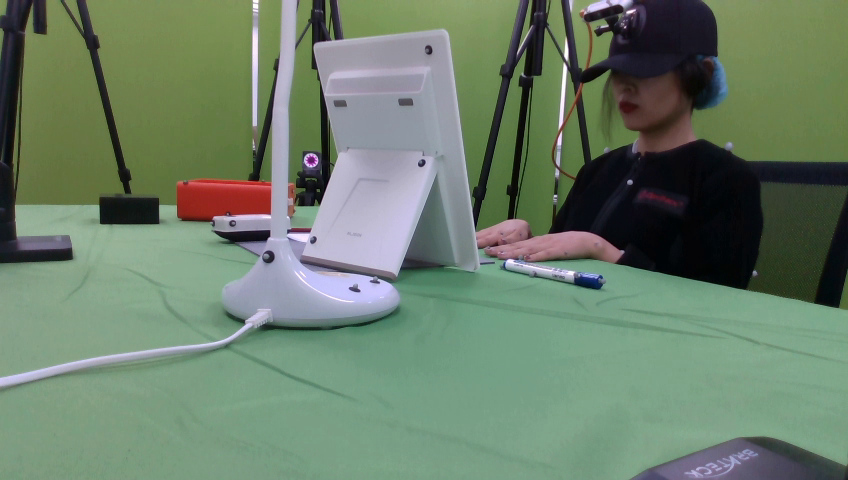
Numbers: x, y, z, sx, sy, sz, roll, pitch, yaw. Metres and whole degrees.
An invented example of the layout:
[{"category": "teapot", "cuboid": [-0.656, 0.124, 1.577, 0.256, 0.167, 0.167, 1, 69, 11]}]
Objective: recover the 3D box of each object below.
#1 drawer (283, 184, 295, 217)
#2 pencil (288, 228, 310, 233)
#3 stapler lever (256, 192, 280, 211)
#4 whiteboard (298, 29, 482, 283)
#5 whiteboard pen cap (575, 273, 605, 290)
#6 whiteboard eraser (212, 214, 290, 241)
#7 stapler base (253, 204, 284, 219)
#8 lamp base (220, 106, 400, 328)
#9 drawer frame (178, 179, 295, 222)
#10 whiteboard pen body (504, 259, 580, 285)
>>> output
[{"category": "drawer", "cuboid": [-0.394, -0.086, 1.317, 0.212, 0.073, 0.194, 1, 8, -7]}, {"category": "pencil", "cuboid": [-0.239, -0.017, 1.093, 0.195, 0.012, 0.012, 1, 7, -27]}, {"category": "stapler lever", "cuboid": [-0.337, -0.088, 1.305, 0.027, 0.040, 0.118, 2, 11, -2]}, {"category": "whiteboard", "cuboid": [-0.075, -0.082, 0.742, 0.216, 0.305, 0.144, 9, 29, 37]}, {"category": "whiteboard pen cap", "cuboid": [0.197, 0.047, 0.719, 0.018, 0.018, 0.033, -4, 11, -41]}, {"category": "whiteboard eraser", "cuboid": [-0.278, -0.021, 0.976, 0.113, 0.042, 0.055, -3, 11, -40]}, {"category": "stapler base", "cuboid": [-0.336, -0.065, 1.308, 0.041, 0.024, 0.130, 2, 9, -2]}, {"category": "lamp base", "cuboid": [-0.101, -0.023, 0.531, 0.160, 0.180, 0.179, 4, 10, 10]}, {"category": "drawer frame", "cuboid": [-0.397, -0.088, 1.315, 0.214, 0.082, 0.201, 1, 8, -7]}, {"category": "whiteboard pen body", "cuboid": [0.157, 0.041, 0.764, 0.017, 0.017, 0.140, -4, 10, -41]}]
